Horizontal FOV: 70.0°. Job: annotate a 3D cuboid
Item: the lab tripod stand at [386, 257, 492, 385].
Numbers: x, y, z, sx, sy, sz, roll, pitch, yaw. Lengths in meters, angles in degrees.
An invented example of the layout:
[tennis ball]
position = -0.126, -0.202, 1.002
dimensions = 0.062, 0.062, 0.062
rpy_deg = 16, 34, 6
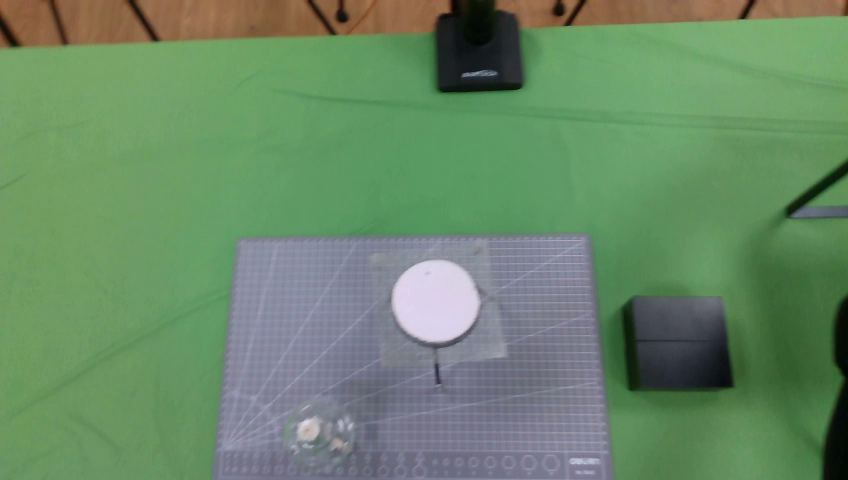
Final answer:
[lab tripod stand]
position = 0.016, 0.077, 0.668
dimensions = 0.148, 0.132, 0.147
rpy_deg = 0, 70, 2

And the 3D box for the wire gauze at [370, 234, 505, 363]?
[wire gauze]
position = 0.011, 0.058, 0.604
dimensions = 0.125, 0.011, 0.120
rpy_deg = -6, 72, -1

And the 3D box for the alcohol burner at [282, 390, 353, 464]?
[alcohol burner]
position = -0.116, 0.198, 0.645
dimensions = 0.078, 0.120, 0.077
rpy_deg = 0, 71, 0
